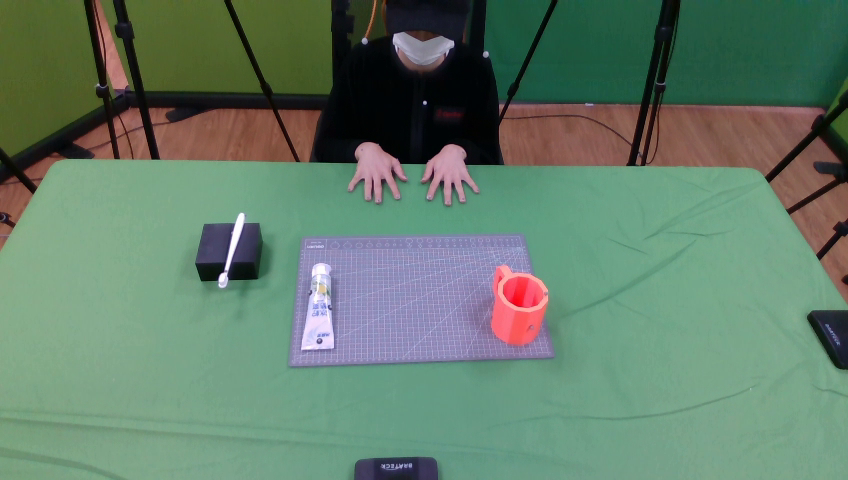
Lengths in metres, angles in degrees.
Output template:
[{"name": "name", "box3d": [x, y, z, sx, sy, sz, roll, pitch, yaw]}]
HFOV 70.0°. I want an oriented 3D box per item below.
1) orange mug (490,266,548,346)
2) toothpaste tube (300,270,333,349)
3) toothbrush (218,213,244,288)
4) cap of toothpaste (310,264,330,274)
[{"name": "orange mug", "box3d": [0.155, 0.107, 1.051, 0.083, 0.101, 0.125, -15, 53, -18]}, {"name": "toothpaste tube", "box3d": [-0.187, 0.118, 1.062, 0.055, 0.035, 0.164, -6, 50, -1]}, {"name": "toothbrush", "box3d": [-0.347, 0.013, 1.094, 0.014, 0.017, 0.180, -2, 46, 1]}, {"name": "cap of toothpaste", "box3d": [-0.191, 0.057, 1.111, 0.037, 0.037, 0.011, -2, 50, -6]}]
